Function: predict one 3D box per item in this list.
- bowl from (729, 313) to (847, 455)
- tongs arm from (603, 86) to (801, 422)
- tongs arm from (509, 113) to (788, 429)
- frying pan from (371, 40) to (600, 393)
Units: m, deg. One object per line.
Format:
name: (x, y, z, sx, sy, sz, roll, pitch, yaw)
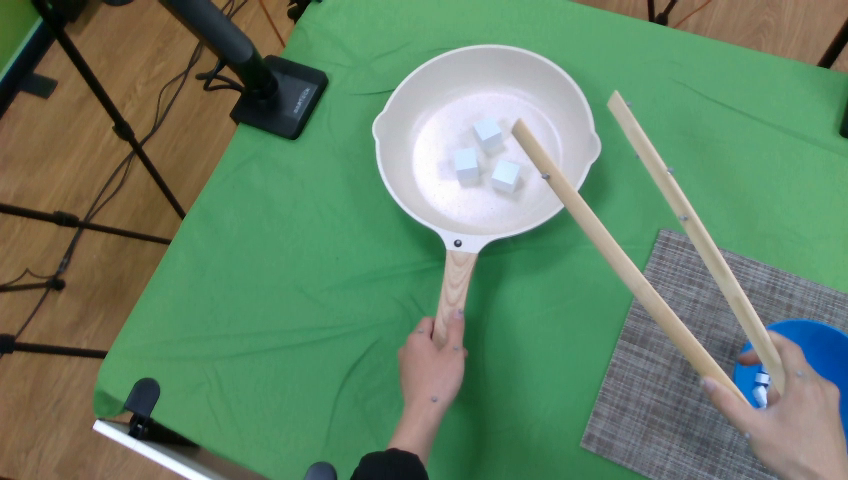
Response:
bowl: (0.413, 0.163, 0.679, 0.151, 0.077, 0.150, -2, 71, 7)
tongs arm: (0.265, -0.002, 0.618, 0.051, 0.026, 0.381, -16, 67, -21)
tongs arm: (0.201, 0.020, 0.593, 0.028, 0.028, 0.385, -25, 70, -28)
frying pan: (0.058, -0.042, 0.788, 0.306, 0.103, 0.484, 8, 64, 12)
